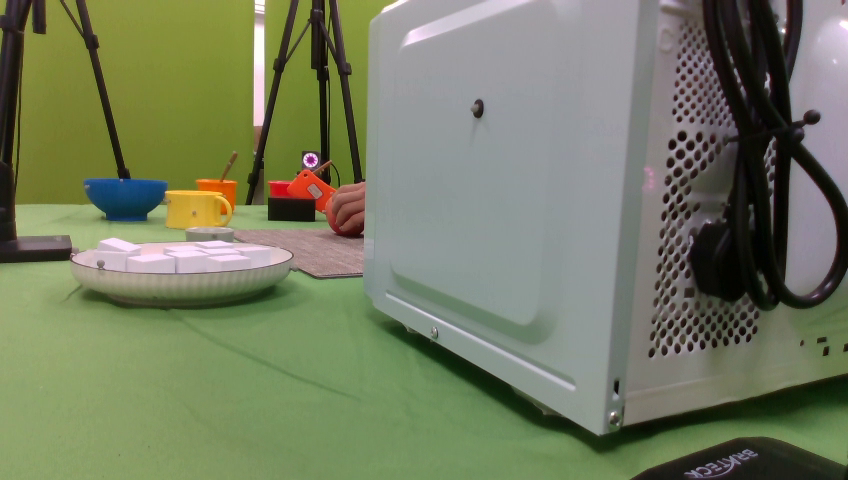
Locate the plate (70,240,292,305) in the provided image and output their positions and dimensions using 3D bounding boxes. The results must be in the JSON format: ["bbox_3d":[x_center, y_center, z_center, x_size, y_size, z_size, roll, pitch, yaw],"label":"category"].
[{"bbox_3d":[-0.241,0.031,0.618,0.208,0.039,0.207,2,8,0],"label":"plate"}]

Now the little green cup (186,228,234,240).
[{"bbox_3d":[-0.284,0.005,0.805,0.061,0.038,0.061,2,8,0],"label":"little green cup"}]

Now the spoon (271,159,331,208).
[{"bbox_3d":[-0.308,-0.141,1.513,0.193,0.021,0.041,-42,1,8],"label":"spoon"}]

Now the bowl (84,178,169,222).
[{"bbox_3d":[-0.584,-0.078,1.194,0.151,0.077,0.151,3,8,0],"label":"bowl"}]

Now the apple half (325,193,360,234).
[{"bbox_3d":[-0.133,-0.047,1.087,0.081,0.074,0.053,3,11,-27],"label":"apple half"}]

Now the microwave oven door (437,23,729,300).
[{"bbox_3d":[0.181,-0.072,0.621,0.358,0.243,0.039,-2,9,-29],"label":"microwave oven door"}]

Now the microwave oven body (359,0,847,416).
[{"bbox_3d":[0.211,-0.047,0.474,0.444,0.260,0.324,-1,7,-28],"label":"microwave oven body"}]

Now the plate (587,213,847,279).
[{"bbox_3d":[0.244,0.002,0.512,0.209,0.038,0.209,1,7,0],"label":"plate"}]

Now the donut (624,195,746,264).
[{"bbox_3d":[0.221,-0.007,0.518,0.099,0.048,0.099,19,1,0],"label":"donut"}]

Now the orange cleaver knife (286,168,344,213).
[{"bbox_3d":[-0.207,-0.093,1.382,0.212,0.077,0.012,25,9,-16],"label":"orange cleaver knife"}]

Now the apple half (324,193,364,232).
[{"bbox_3d":[-0.152,-0.053,1.121,0.082,0.081,0.032,-2,13,-27],"label":"apple half"}]

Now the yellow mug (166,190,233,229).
[{"bbox_3d":[-0.415,-0.057,1.132,0.130,0.064,0.100,6,8,16],"label":"yellow mug"}]

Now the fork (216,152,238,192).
[{"bbox_3d":[-0.455,-0.132,1.366,0.028,0.018,0.207,-2,-35,-38],"label":"fork"}]

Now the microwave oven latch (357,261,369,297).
[{"bbox_3d":[-0.019,0.033,0.530,0.079,0.029,0.030,-1,7,-27],"label":"microwave oven latch"}]
